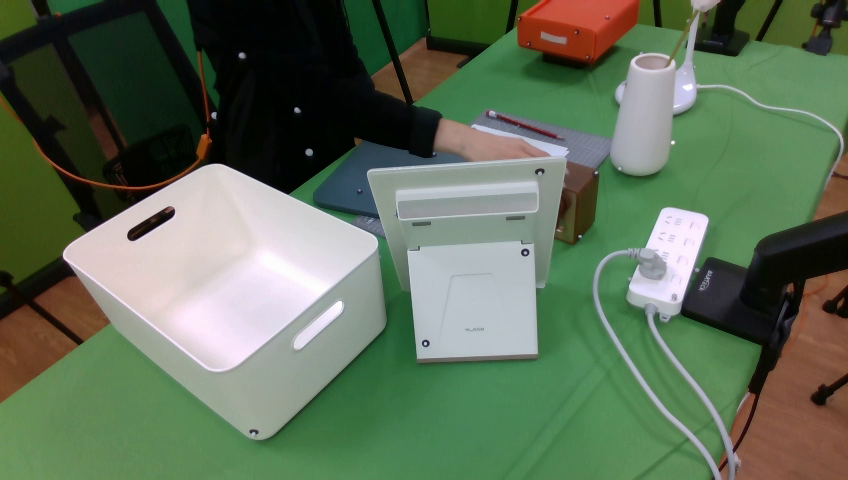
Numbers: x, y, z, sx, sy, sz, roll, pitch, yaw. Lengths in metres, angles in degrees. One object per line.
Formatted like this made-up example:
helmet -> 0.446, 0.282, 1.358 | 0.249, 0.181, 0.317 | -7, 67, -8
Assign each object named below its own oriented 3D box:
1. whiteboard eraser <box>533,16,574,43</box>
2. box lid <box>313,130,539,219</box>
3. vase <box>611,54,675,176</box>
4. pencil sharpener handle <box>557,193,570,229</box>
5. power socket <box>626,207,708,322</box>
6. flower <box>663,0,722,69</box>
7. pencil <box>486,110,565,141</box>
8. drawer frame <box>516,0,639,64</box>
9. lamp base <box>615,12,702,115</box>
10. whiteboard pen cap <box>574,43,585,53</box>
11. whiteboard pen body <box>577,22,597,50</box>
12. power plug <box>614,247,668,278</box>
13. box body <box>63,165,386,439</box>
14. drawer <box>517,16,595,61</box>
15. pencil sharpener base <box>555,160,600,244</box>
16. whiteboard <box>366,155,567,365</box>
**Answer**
whiteboard eraser -> 0.305, -0.493, 1.423 | 0.055, 0.042, 0.113 | 26, 43, 25
box lid -> 0.007, -0.113, 1.114 | 0.369, 0.015, 0.263 | 11, 44, 21
vase -> 0.377, -0.209, 1.031 | 0.098, 0.201, 0.097 | -3, 40, 3
pencil sharpener handle -> 0.195, -0.038, 0.908 | 0.035, 0.068, 0.031 | 25, 51, 30
power socket -> 0.359, 0.026, 0.886 | 0.072, 0.033, 0.227 | 16, 46, 26
flower -> 0.379, -0.261, 0.965 | 0.044, 0.362, 0.038 | 20, 53, 5
pencil -> 0.204, -0.232, 1.226 | 0.192, 0.012, 0.012 | 29, 52, 33
drawer frame -> 0.356, -0.507, 1.410 | 0.200, 0.083, 0.214 | 25, 51, 32
lamp base -> 0.484, -0.363, 1.211 | 0.180, 0.181, 0.159 | -15, 41, -14
whiteboard pen cap -> 0.346, -0.430, 1.350 | 0.018, 0.018, 0.033 | 15, 37, 24
whiteboard pen body -> 0.372, -0.468, 1.390 | 0.017, 0.017, 0.141 | 14, 47, 23
power plug -> 0.306, 0.031, 0.851 | 0.072, 0.053, 0.035 | 24, 49, 33
box body -> -0.257, 0.068, 0.824 | 0.361, 0.161, 0.255 | 24, 49, 31
drawer -> 0.353, -0.505, 1.404 | 0.193, 0.073, 0.212 | 25, 50, 33
pencil sharpener base -> 0.228, -0.057, 0.945 | 0.061, 0.107, 0.077 | 24, 50, 31
whiteboard -> 0.059, 0.050, 0.738 | 0.217, 0.307, 0.143 | -3, 60, 5
